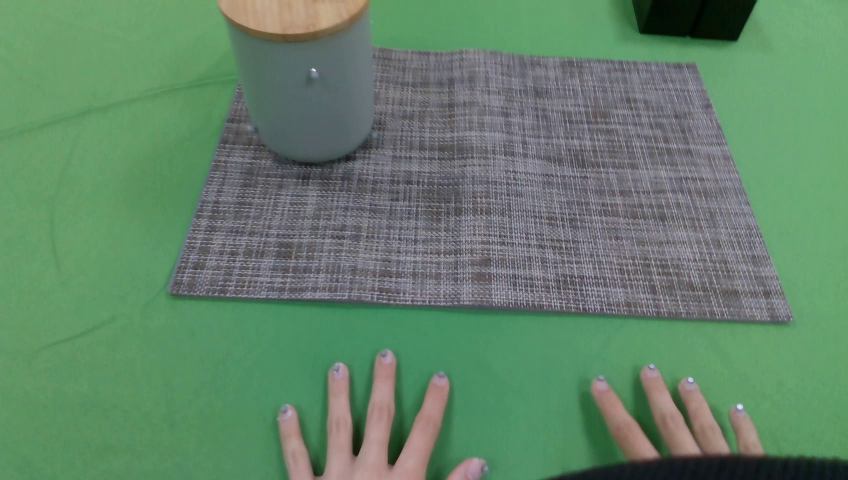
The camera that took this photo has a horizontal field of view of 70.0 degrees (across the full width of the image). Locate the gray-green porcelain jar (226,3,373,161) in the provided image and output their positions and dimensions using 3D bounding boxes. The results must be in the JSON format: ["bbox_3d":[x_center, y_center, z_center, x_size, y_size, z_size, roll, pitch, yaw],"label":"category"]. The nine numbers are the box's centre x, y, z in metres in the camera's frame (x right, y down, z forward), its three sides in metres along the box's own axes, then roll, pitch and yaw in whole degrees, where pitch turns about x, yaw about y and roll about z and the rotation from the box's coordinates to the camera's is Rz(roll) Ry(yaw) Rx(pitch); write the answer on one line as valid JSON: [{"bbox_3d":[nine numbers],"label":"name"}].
[{"bbox_3d":[-0.094,-0.136,0.485,0.106,0.127,0.105,2,53,-2],"label":"gray-green porcelain jar"}]

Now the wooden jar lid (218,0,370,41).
[{"bbox_3d":[-0.092,-0.174,0.436,0.108,0.021,0.107,1,54,-1],"label":"wooden jar lid"}]
